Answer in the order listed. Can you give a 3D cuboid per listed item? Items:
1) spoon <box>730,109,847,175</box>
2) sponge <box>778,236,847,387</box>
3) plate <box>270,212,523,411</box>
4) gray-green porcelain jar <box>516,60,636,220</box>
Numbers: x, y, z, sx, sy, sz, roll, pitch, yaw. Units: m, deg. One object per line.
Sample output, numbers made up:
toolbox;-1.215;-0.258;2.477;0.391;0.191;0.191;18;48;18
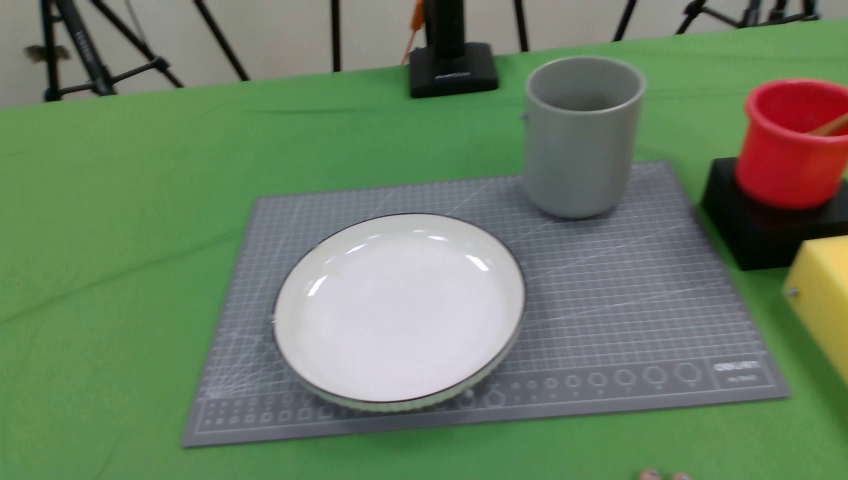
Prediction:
spoon;0.342;-0.098;0.481;0.193;0.022;0.041;-32;22;45
sponge;0.364;0.082;0.419;0.118;0.061;0.204;-8;42;-1
plate;-0.021;0.056;0.510;0.207;0.039;0.205;-4;42;4
gray-green porcelain jar;0.142;-0.091;0.584;0.106;0.128;0.105;-4;42;4
